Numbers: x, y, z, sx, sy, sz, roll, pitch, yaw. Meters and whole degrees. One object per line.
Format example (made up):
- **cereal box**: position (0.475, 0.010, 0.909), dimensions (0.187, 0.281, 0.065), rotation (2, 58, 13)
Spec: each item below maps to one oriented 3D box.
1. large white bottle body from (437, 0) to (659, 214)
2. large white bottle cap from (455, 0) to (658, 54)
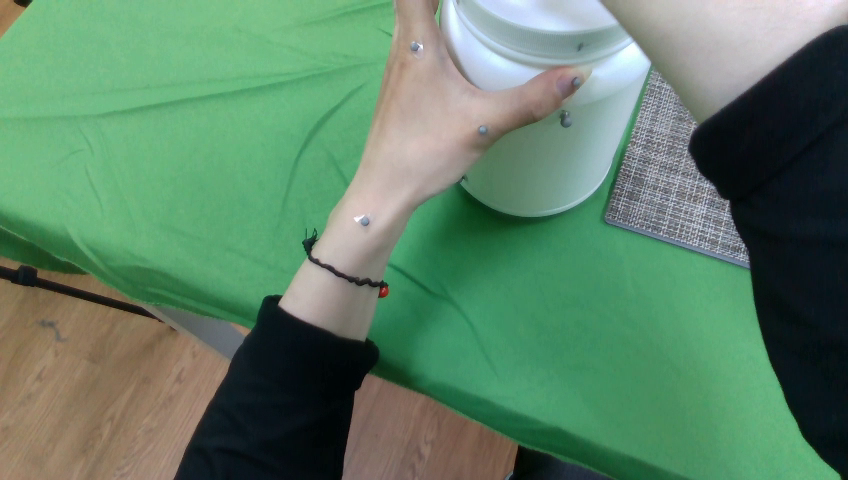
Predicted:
- **large white bottle body**: position (0.075, -0.113, 0.400), dimensions (0.130, 0.186, 0.129), rotation (-1, 65, 3)
- **large white bottle cap**: position (0.070, -0.149, 0.322), dimensions (0.115, 0.018, 0.114), rotation (-1, 66, 3)
